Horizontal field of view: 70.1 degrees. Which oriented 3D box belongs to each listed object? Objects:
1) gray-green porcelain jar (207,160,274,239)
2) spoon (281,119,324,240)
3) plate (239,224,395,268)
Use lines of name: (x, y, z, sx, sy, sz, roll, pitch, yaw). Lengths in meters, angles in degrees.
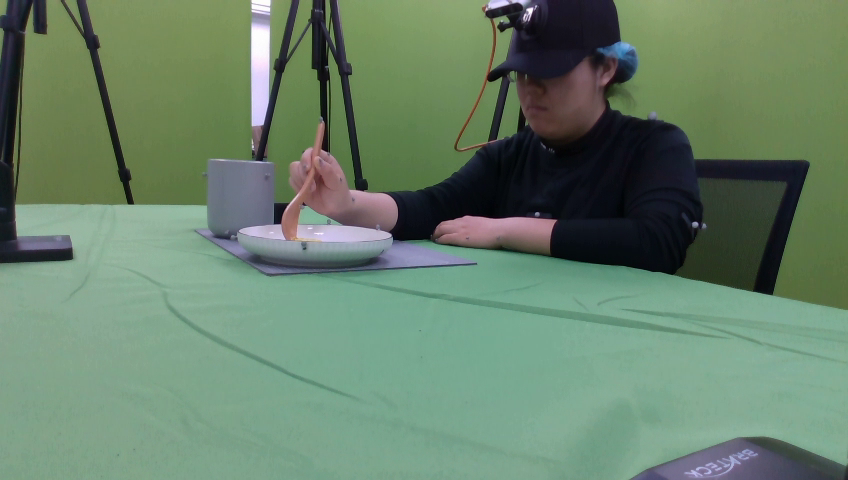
gray-green porcelain jar: (-0.304, -0.068, 1.003, 0.106, 0.126, 0.106, 3, 7, 0)
spoon: (-0.165, -0.084, 0.847, 0.021, 0.193, 0.042, 9, -20, 19)
plate: (-0.144, 0.007, 0.823, 0.208, 0.039, 0.207, 3, 7, 0)
